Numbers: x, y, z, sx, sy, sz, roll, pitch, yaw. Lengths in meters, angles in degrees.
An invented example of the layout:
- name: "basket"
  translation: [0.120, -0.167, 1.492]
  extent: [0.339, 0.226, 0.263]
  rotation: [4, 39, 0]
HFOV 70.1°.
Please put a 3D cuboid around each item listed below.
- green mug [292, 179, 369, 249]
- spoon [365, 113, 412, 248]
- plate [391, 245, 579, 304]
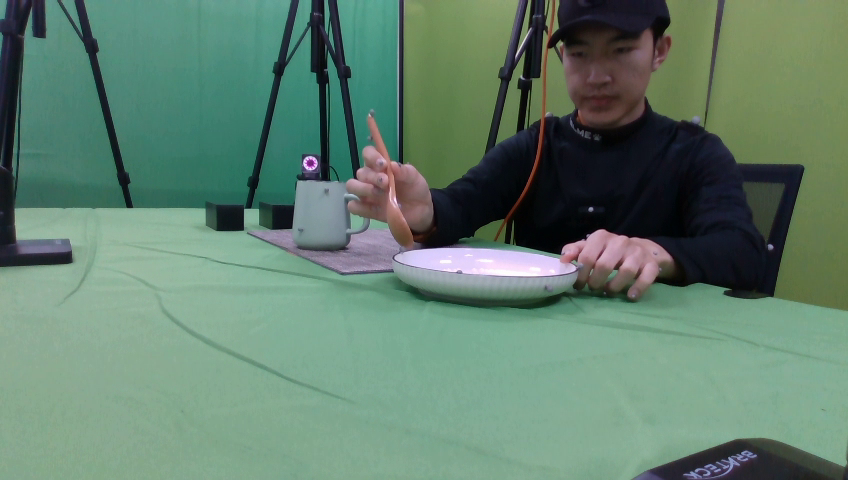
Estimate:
- name: "green mug"
  translation: [-0.144, -0.040, 0.944]
  extent: [0.125, 0.105, 0.093]
  rotation: [4, 7, 16]
- name: "spoon"
  translation: [-0.043, -0.074, 0.692]
  extent: [0.022, 0.193, 0.041]
  rotation: [-5, -34, -14]
- name: "plate"
  translation: [0.066, 0.038, 0.683]
  extent: [0.209, 0.038, 0.209]
  rotation: [2, 7, 0]
